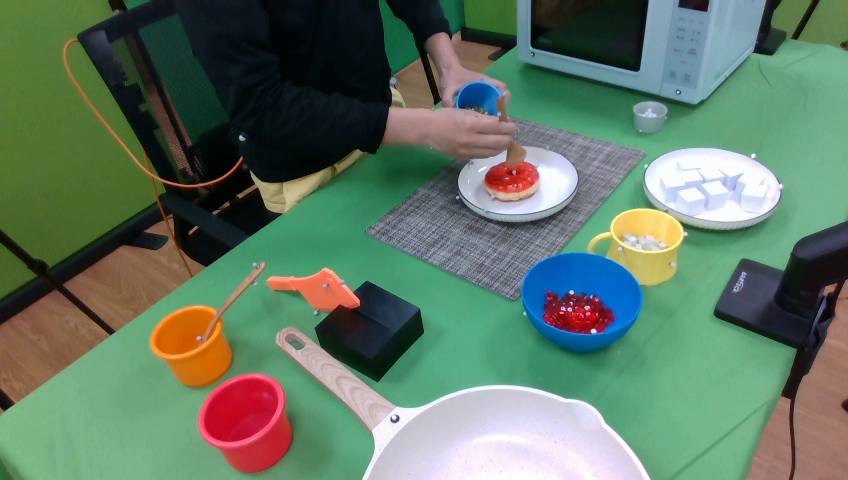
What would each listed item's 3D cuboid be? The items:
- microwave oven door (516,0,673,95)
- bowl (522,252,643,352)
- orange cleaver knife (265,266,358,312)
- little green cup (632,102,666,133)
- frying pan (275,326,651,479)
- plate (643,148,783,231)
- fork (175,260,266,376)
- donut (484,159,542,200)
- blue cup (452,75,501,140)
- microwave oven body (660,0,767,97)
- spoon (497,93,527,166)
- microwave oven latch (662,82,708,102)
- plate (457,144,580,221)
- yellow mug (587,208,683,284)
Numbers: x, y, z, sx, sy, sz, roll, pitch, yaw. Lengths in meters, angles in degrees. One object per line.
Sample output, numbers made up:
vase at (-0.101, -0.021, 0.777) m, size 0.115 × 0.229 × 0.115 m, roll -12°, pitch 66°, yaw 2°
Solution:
microwave oven door at (0.344, -0.458, 1.256) m, size 0.353 × 0.245 × 0.039 m, roll 26°, pitch 52°, yaw 33°
bowl at (0.204, 0.093, 0.791) m, size 0.151 × 0.077 × 0.150 m, roll -4°, pitch 40°, yaw 4°
orange cleaver knife at (-0.164, 0.073, 0.864) m, size 0.210 × 0.077 × 0.012 m, roll -6°, pitch 30°, yaw 50°
little green cup at (0.434, -0.237, 1.171) m, size 0.061 × 0.039 × 0.061 m, roll -5°, pitch 40°, yaw 5°
frying pan at (0.003, 0.229, 0.641) m, size 0.484 × 0.103 × 0.308 m, roll 34°, pitch 54°, yaw 28°
plate at (0.465, -0.080, 0.986) m, size 0.207 × 0.039 × 0.206 m, roll -4°, pitch 41°, yaw 4°
fork at (-0.268, 0.103, 0.792) m, size 0.207 × 0.019 × 0.028 m, roll -51°, pitch 41°, yaw 16°
donut at (0.153, -0.108, 1.039) m, size 0.099 × 0.048 × 0.098 m, roll -5°, pitch 38°, yaw 5°
blue cup at (0.086, -0.220, 1.053) m, size 0.093 × 0.100 × 0.092 m, roll 1°, pitch 77°, yaw -3°
microwave oven body at (0.473, -0.517, 1.313) m, size 0.438 × 0.261 × 0.327 m, roll 26°, pitch 51°, yaw 34°
spoon at (0.129, -0.164, 0.921) m, size 0.041 × 0.195 × 0.021 m, roll -32°, pitch 59°, yaw 2°
microwave oven latch at (0.518, -0.299, 1.203) m, size 0.078 × 0.029 × 0.030 m, roll 29°, pitch 53°, yaw 36°
plate at (0.162, -0.097, 1.042) m, size 0.209 × 0.038 × 0.208 m, roll -4°, pitch 40°, yaw 4°
yellow mug at (0.305, 0.009, 0.884) m, size 0.131 × 0.064 × 0.099 m, roll -4°, pitch 40°, yaw 5°
